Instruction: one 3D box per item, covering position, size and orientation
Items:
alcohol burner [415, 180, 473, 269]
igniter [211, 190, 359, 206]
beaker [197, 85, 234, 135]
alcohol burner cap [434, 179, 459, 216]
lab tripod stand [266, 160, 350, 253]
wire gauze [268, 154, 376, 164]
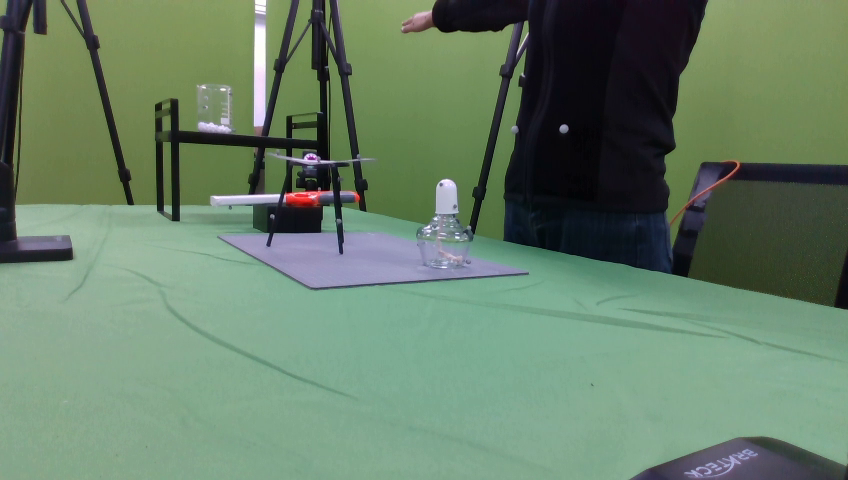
[{"bbox_3d":[0.028,-0.021,0.807,0.078,0.119,0.078,3,5,0],"label":"alcohol burner"},{"bbox_3d":[-0.257,-0.079,1.148,0.278,0.025,0.057,-4,12,-30],"label":"igniter"},{"bbox_3d":[-0.444,-0.275,1.283,0.074,0.100,0.084,5,8,22],"label":"beaker"},{"bbox_3d":[0.031,-0.057,0.802,0.034,0.048,0.034,-1,10,0],"label":"alcohol burner cap"},{"bbox_3d":[-0.163,-0.054,0.914,0.148,0.131,0.148,2,9,0],"label":"lab tripod stand"},{"bbox_3d":[-0.154,-0.120,0.910,0.122,0.011,0.124,-5,11,-44],"label":"wire gauze"}]
